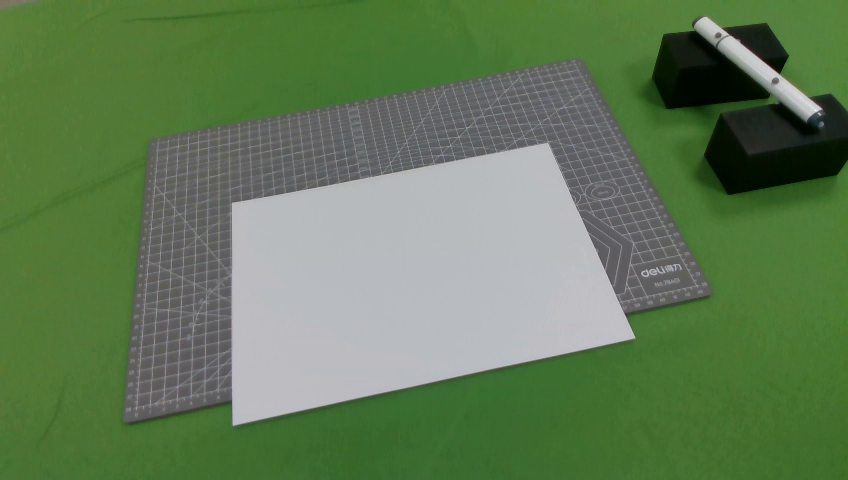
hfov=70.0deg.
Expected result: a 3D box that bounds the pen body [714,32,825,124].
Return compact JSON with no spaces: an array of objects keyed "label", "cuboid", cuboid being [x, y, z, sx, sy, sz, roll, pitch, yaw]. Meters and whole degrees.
[{"label":"pen body","cuboid":[0.287,-0.150,0.526,0.017,0.017,0.142,-22,56,-10]}]

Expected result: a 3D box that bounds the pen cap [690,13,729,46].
[{"label":"pen cap","cuboid":[0.263,-0.195,0.560,0.017,0.017,0.038,-22,56,-10]}]
